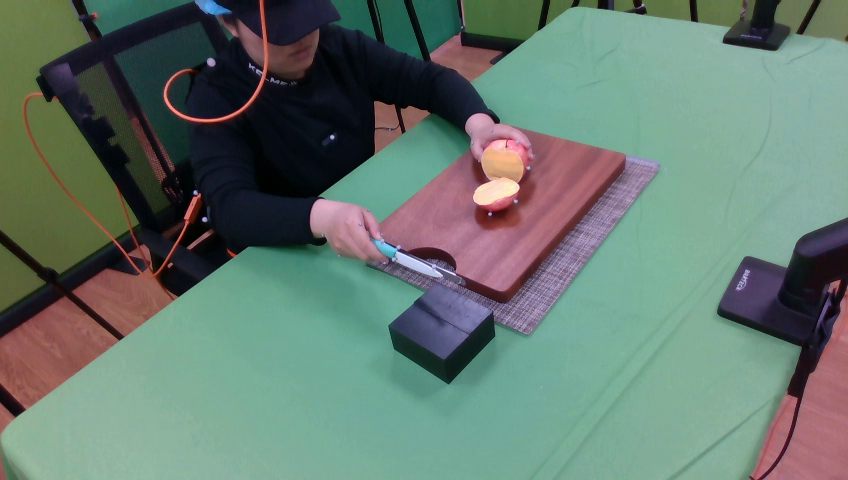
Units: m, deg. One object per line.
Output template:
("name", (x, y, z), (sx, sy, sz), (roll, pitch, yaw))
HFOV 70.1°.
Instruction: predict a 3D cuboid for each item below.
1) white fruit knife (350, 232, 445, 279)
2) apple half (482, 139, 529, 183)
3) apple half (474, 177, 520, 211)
("white fruit knife", (-0.041, 0.021, 0.860), (0.205, 0.027, 0.016), (20, 48, 43))
("apple half", (0.146, -0.138, 1.039), (0.080, 0.075, 0.053), (11, 40, 27))
("apple half", (0.123, -0.070, 0.994), (0.081, 0.033, 0.081), (-17, 29, 11))
